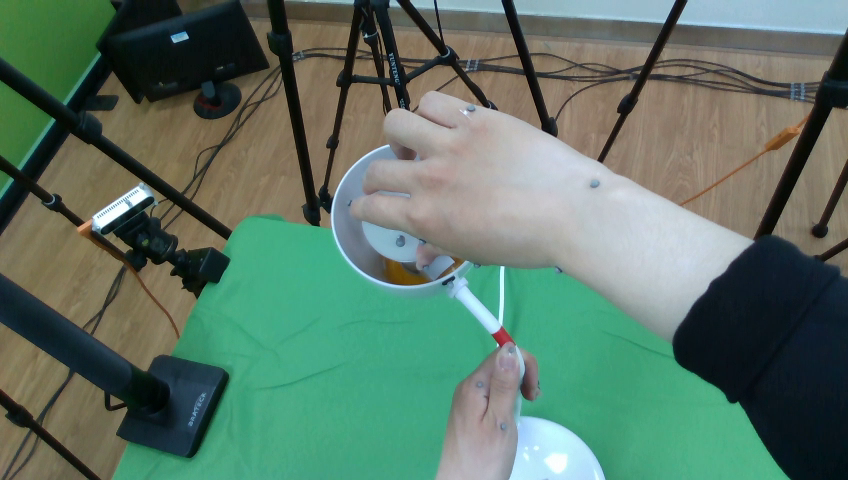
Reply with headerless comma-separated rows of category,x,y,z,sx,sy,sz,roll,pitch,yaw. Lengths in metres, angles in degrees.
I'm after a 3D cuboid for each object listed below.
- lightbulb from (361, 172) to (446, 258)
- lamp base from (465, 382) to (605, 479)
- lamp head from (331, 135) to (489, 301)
lightbulb,-0.011,-0.011,0.449,0.059,0.108,0.059,-2,74,7
lamp base,0.111,0.232,0.641,0.161,0.182,0.177,-26,56,-7
lamp head,-0.004,-0.003,0.472,0.112,0.124,0.111,-3,68,7
